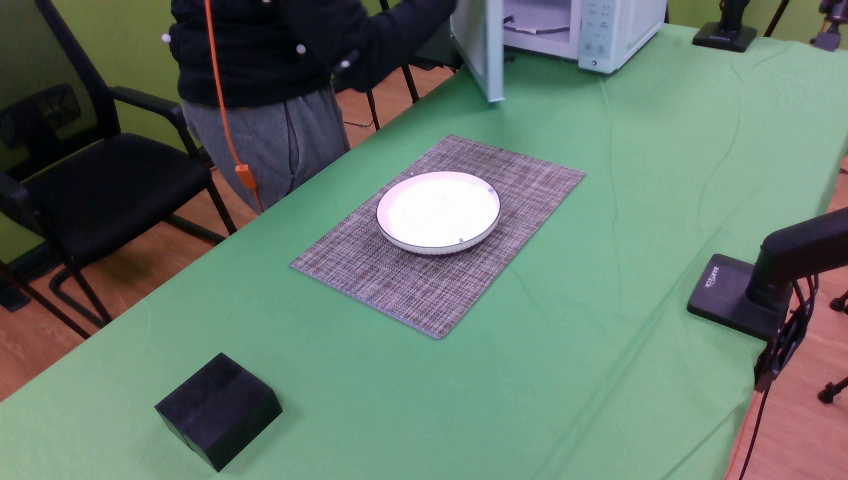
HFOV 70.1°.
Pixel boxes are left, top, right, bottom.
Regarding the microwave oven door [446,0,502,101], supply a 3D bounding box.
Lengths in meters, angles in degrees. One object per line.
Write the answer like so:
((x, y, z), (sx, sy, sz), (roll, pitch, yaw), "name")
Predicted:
((0.101, -0.495, 1.329), (0.039, 0.245, 0.353), (-12, 41, -4), "microwave oven door")

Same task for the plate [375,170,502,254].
((0.024, -0.044, 0.998), (0.209, 0.038, 0.208), (-3, 41, 4), "plate")

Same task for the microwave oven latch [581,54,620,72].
((0.386, -0.393, 1.330), (0.078, 0.029, 0.030), (24, 51, 32), "microwave oven latch")

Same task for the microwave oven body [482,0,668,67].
((0.325, -0.609, 1.437), (0.438, 0.261, 0.327), (23, 50, 30), "microwave oven body")
